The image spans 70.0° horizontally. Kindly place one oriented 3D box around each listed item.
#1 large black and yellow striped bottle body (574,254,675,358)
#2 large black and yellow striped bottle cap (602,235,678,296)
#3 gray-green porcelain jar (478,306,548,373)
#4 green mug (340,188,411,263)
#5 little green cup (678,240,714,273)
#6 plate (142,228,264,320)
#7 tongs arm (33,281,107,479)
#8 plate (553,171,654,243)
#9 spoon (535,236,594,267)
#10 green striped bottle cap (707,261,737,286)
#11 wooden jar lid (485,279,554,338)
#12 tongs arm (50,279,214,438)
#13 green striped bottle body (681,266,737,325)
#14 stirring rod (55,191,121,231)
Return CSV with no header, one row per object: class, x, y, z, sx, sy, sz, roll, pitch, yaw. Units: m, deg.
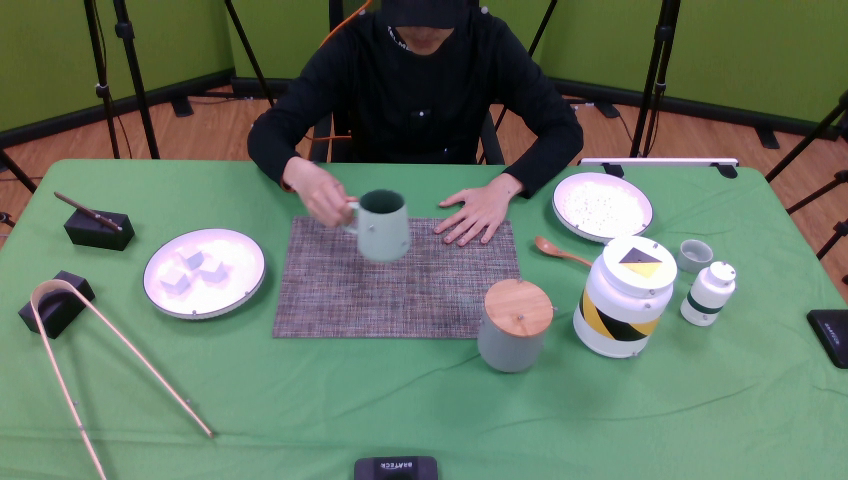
large black and yellow striped bottle body,0.335,0.096,1.014,0.131,0.185,0.130,2,46,-2
large black and yellow striped bottle cap,0.340,0.037,0.956,0.115,0.019,0.114,2,47,-2
gray-green porcelain jar,0.144,0.148,0.989,0.106,0.127,0.105,2,50,-2
green mug,-0.085,-0.027,1.032,0.125,0.105,0.092,11,39,14
little green cup,0.530,0.033,1.190,0.061,0.039,0.061,2,46,-1
plate,-0.395,0.064,1.095,0.208,0.039,0.206,2,46,-2
tongs arm,-0.517,0.214,0.909,0.051,0.026,0.383,-29,63,-27
plate,0.373,-0.066,1.275,0.209,0.038,0.208,2,46,-2
spoon,0.303,0.040,1.178,0.193,0.022,0.041,25,31,19
green striped bottle cap,0.510,0.057,1.036,0.044,0.020,0.044,1,45,-1
wooden jar lid,0.147,0.108,0.940,0.108,0.021,0.107,4,47,-4
tongs arm,-0.459,0.178,0.949,0.386,0.028,0.028,37,60,17
green striped bottle body,0.507,0.093,1.074,0.063,0.120,0.063,2,46,-2
stirring rod,-0.632,-0.055,1.138,0.175,0.014,0.006,24,50,19
